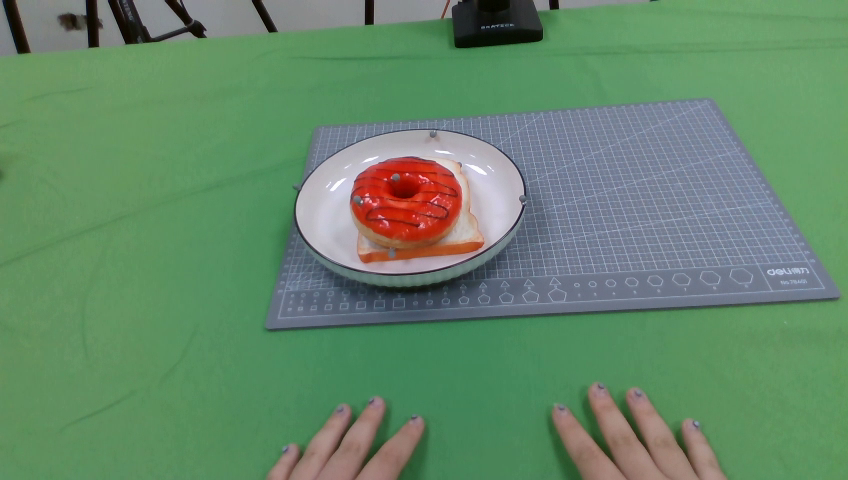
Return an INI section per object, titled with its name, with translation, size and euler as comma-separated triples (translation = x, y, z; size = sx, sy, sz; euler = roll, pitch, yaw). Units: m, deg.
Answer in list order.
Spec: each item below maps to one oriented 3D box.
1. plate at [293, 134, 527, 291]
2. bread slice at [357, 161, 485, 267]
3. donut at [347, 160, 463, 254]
[plate]
translation = -0.012, -0.026, 0.552
size = 0.209, 0.038, 0.207
euler = -3, 42, 3
[bread slice]
translation = -0.009, -0.028, 0.557
size = 0.107, 0.018, 0.133
euler = -7, 43, -3
[donut]
translation = -0.016, -0.028, 0.515
size = 0.099, 0.049, 0.098
euler = -1, 46, 1
